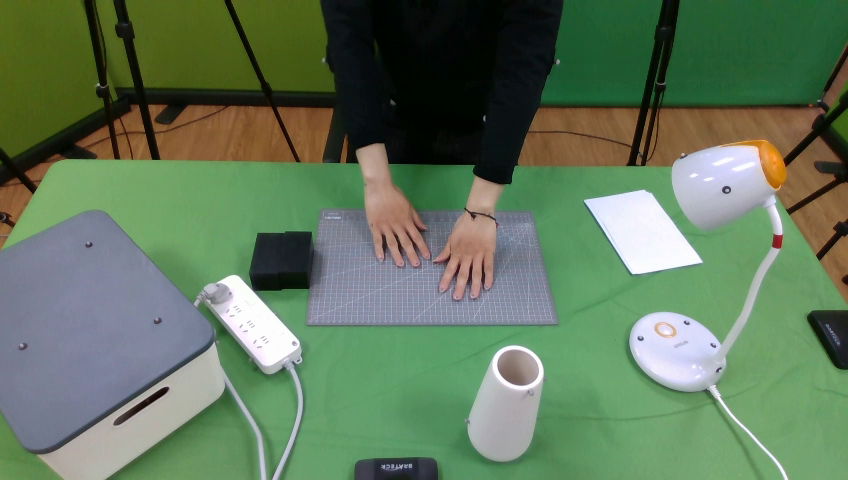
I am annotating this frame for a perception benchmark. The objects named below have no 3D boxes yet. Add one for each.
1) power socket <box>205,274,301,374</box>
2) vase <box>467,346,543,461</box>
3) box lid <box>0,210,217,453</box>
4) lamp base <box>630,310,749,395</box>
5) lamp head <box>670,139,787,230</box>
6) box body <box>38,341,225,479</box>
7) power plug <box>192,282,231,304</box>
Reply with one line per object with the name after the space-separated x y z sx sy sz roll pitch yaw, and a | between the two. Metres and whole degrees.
-0.296 0.140 1.035 0.072 0.033 0.225 -32 57 -29 | power socket
0.116 0.234 0.861 0.098 0.201 0.097 1 47 -1 | vase
-0.502 0.102 0.865 0.369 0.015 0.263 36 54 27 | box lid
0.447 0.142 0.984 0.161 0.181 0.178 -24 55 -24 | lamp base
0.415 -0.079 0.812 0.113 0.123 0.112 13 70 -37 | lamp head
-0.504 0.154 0.917 0.362 0.161 0.254 36 54 27 | box body
-0.368 0.097 1.039 0.072 0.053 0.035 -26 55 -20 | power plug
